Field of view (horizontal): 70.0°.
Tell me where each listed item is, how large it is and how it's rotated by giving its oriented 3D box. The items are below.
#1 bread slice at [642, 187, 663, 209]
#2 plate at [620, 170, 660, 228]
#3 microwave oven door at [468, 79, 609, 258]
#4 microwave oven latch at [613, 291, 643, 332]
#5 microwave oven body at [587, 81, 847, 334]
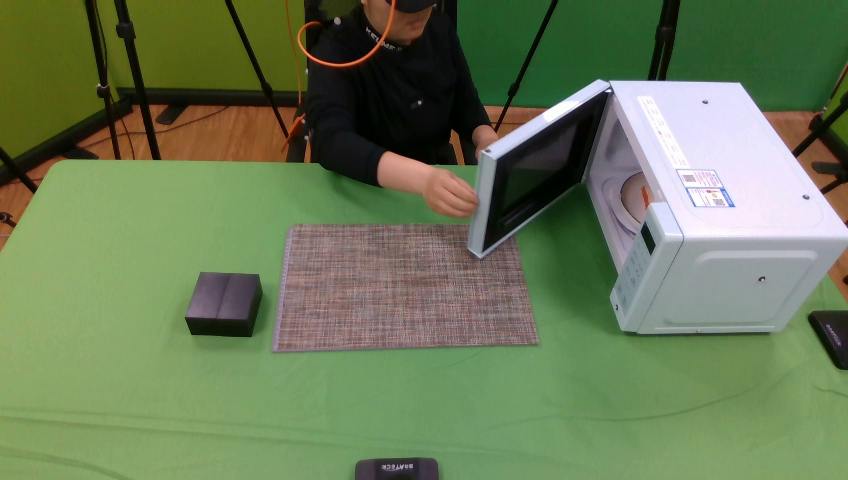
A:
[{"bbox_3d":[0.493,-0.058,1.195,0.105,0.019,0.131,6,44,4],"label":"bread slice"},{"bbox_3d":[0.490,-0.060,1.194,0.209,0.038,0.208,3,45,-2],"label":"plate"},{"bbox_3d":[0.226,-0.143,1.176,0.039,0.245,0.355,37,54,28],"label":"microwave oven door"},{"bbox_3d":[0.357,0.124,1.068,0.030,0.029,0.078,1,45,-2],"label":"microwave oven latch"},{"bbox_3d":[0.501,-0.070,1.132,0.326,0.261,0.438,-1,45,-3],"label":"microwave oven body"}]
